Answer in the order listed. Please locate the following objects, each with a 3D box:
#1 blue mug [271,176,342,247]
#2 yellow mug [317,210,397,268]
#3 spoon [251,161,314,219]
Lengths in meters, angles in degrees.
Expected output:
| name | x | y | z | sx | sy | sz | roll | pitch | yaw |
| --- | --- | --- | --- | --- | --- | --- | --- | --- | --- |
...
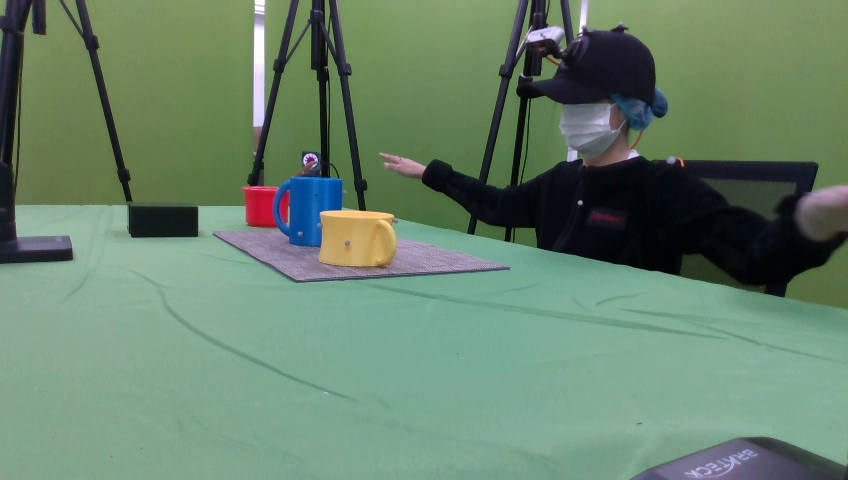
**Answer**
| name | x | y | z | sx | sy | sz | roll | pitch | yaw |
| --- | --- | --- | --- | --- | --- | --- | --- | --- | --- |
| blue mug | -0.190 | -0.047 | 0.963 | 0.116 | 0.106 | 0.082 | 4 | 7 | 13 |
| yellow mug | -0.080 | -0.001 | 0.796 | 0.100 | 0.064 | 0.130 | -4 | 11 | -45 |
| spoon | -0.280 | -0.097 | 1.194 | 0.193 | 0.021 | 0.042 | -43 | -16 | 26 |
